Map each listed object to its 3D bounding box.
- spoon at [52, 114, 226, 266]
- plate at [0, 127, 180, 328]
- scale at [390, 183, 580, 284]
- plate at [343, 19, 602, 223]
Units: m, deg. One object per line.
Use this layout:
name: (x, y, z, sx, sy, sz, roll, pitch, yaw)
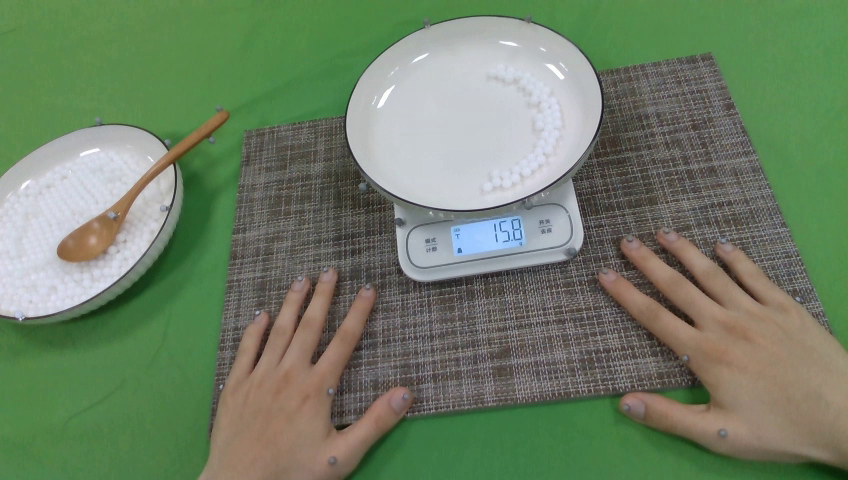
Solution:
spoon: (-0.251, -0.048, 0.545, 0.041, 0.022, 0.193, 39, 80, 27)
plate: (-0.320, -0.013, 0.556, 0.209, 0.038, 0.207, -4, 59, 7)
scale: (0.042, -0.063, 0.517, 0.148, 0.032, 0.199, -9, 59, 6)
plate: (0.038, -0.098, 0.500, 0.207, 0.039, 0.205, -4, 59, 7)
